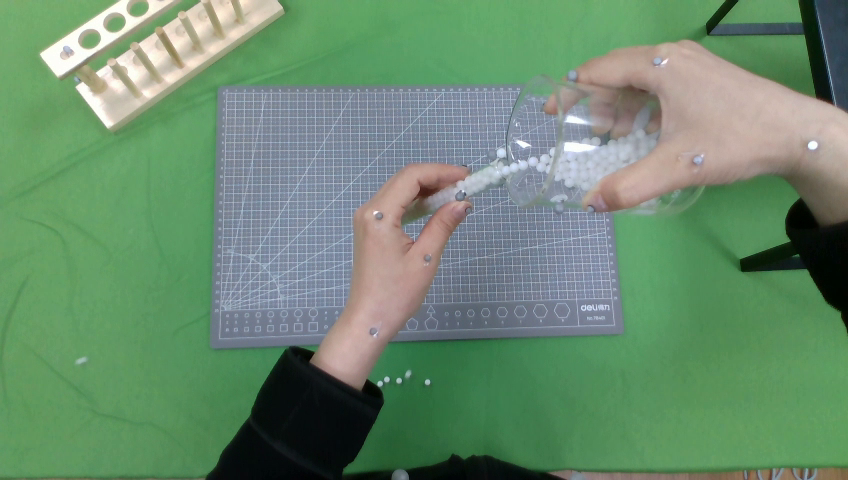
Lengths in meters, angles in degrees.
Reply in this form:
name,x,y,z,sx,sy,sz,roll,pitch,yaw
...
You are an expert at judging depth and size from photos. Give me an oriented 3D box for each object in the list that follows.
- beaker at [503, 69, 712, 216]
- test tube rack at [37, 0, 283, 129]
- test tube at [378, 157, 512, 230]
name,x,y,z,sx,sy,sz,roll,pitch,yaw
beaker,0.104,-0.051,0.354,0.100,0.084,0.073,4,74,-15
test tube rack,-0.280,-0.232,0.668,0.242,0.085,0.066,-39,83,-10
test tube,0.008,-0.029,0.437,0.017,0.150,0.017,10,73,-33
